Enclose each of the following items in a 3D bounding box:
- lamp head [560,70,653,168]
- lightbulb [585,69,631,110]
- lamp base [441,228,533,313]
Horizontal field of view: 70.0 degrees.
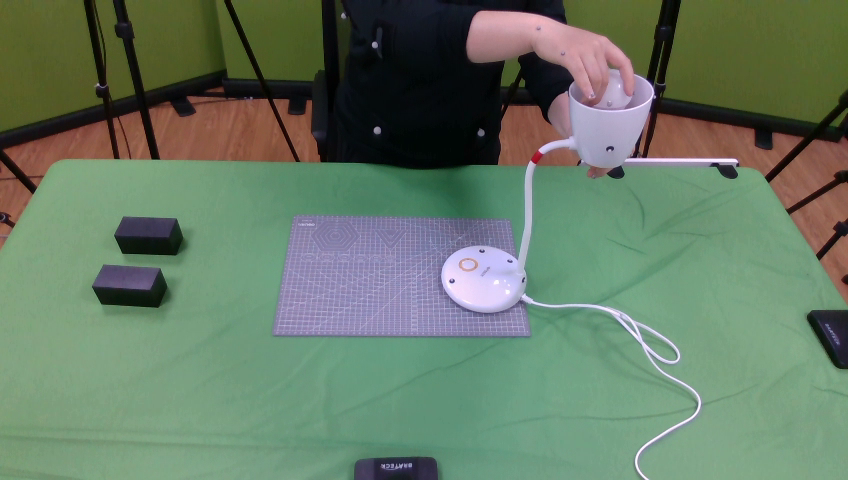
[{"bbox_3d":[0.253,-0.163,0.859,0.112,0.123,0.111,0,42,0],"label":"lamp head"},{"bbox_3d":[0.252,-0.184,0.845,0.059,0.108,0.059,0,35,0],"label":"lightbulb"},{"bbox_3d":[0.126,0.022,1.071,0.179,0.181,0.160,23,49,13],"label":"lamp base"}]
